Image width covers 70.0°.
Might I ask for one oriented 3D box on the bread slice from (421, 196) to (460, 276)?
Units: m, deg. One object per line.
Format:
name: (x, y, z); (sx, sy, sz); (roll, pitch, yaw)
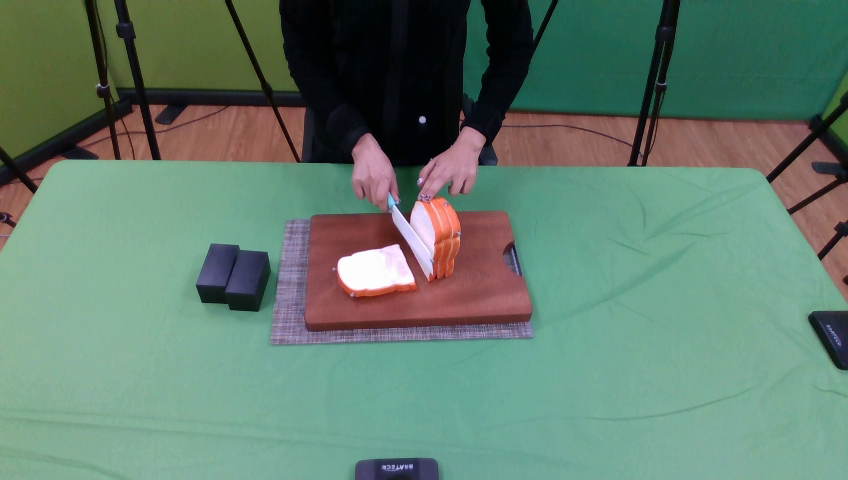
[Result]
bread slice: (0.032, -0.013, 1.100); (0.019, 0.132, 0.104); (-13, 50, -25)

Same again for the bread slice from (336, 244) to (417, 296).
bread slice: (-0.090, 0.054, 1.097); (0.134, 0.018, 0.106); (-7, 44, -16)

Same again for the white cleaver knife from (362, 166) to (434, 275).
white cleaver knife: (-0.052, -0.041, 1.118); (0.021, 0.066, 0.284); (-20, 49, -17)
